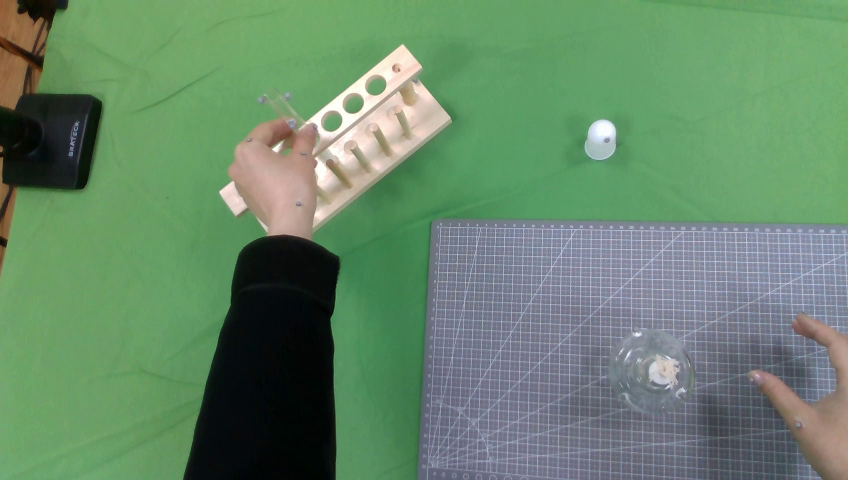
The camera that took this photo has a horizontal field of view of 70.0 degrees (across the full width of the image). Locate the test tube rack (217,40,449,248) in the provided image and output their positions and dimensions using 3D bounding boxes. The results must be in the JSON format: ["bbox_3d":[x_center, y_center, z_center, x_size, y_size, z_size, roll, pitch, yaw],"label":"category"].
[{"bbox_3d":[-0.093,-0.097,0.652,0.242,0.085,0.066,-38,75,1],"label":"test tube rack"}]

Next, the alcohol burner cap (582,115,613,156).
[{"bbox_3d":[0.182,-0.112,0.630,0.034,0.048,0.033,-3,74,11],"label":"alcohol burner cap"}]

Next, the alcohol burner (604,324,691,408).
[{"bbox_3d":[0.204,0.114,0.549,0.078,0.120,0.077,-2,77,11],"label":"alcohol burner"}]

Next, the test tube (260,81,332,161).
[{"bbox_3d":[-0.124,-0.114,0.609,0.017,0.151,0.017,-3,73,12],"label":"test tube"}]
